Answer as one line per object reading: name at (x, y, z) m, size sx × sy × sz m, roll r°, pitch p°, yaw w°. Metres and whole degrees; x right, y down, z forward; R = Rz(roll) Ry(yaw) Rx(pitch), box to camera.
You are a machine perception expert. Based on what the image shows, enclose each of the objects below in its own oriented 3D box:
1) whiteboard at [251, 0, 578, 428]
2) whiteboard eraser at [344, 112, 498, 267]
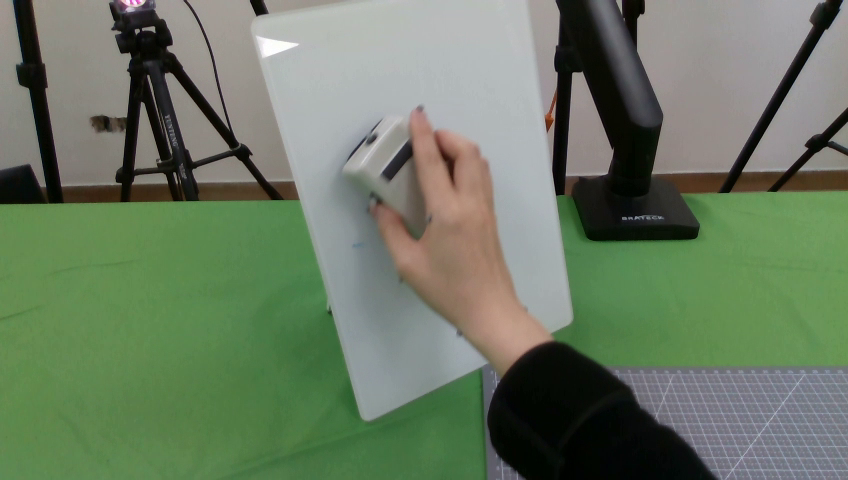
whiteboard at (-0.014, -0.043, 0.523) m, size 0.218 × 0.307 × 0.142 m, roll -20°, pitch 19°, yaw -23°
whiteboard eraser at (-0.001, -0.034, 0.432) m, size 0.055 × 0.113 × 0.041 m, roll -53°, pitch 27°, yaw -14°
